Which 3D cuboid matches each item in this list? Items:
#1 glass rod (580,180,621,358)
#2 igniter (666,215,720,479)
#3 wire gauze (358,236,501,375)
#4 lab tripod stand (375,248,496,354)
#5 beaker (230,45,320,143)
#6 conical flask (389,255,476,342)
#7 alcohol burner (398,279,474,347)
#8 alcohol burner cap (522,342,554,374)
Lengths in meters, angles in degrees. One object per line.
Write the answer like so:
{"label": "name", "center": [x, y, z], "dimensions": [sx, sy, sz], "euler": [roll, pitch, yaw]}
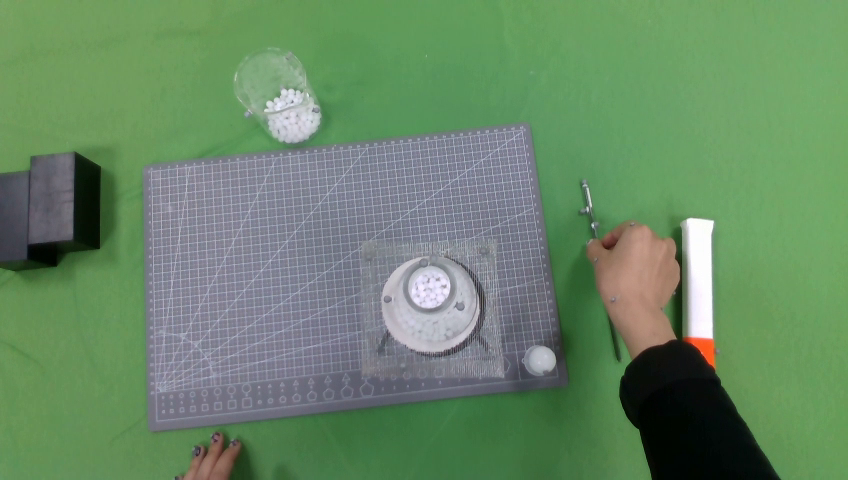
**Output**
{"label": "glass rod", "center": [0.192, 0.029, 0.663], "dimensions": [0.008, 0.008, 0.198], "euler": [-8, 78, 0]}
{"label": "igniter", "center": [0.281, 0.110, 0.635], "dimensions": [0.057, 0.025, 0.275], "euler": [6, 79, -7]}
{"label": "wire gauze", "center": [0.004, 0.057, 0.531], "dimensions": [0.125, 0.011, 0.121], "euler": [0, 82, 0]}
{"label": "lab tripod stand", "center": [0.009, 0.071, 0.595], "dimensions": [0.148, 0.132, 0.148], "euler": [0, 80, 3]}
{"label": "beaker", "center": [-0.155, -0.154, 0.665], "dimensions": [0.084, 0.100, 0.074], "euler": [29, 81, 7]}
{"label": "conical flask", "center": [0.005, 0.041, 0.474], "dimensions": [0.075, 0.122, 0.075], "euler": [0, 80, 2]}
{"label": "alcohol burner", "center": [0.011, 0.075, 0.605], "dimensions": [0.078, 0.119, 0.077], "euler": [-1, 79, 4]}
{"label": "alcohol burner cap", "center": [0.120, 0.122, 0.628], "dimensions": [0.034, 0.048, 0.033], "euler": [-1, 78, 3]}
